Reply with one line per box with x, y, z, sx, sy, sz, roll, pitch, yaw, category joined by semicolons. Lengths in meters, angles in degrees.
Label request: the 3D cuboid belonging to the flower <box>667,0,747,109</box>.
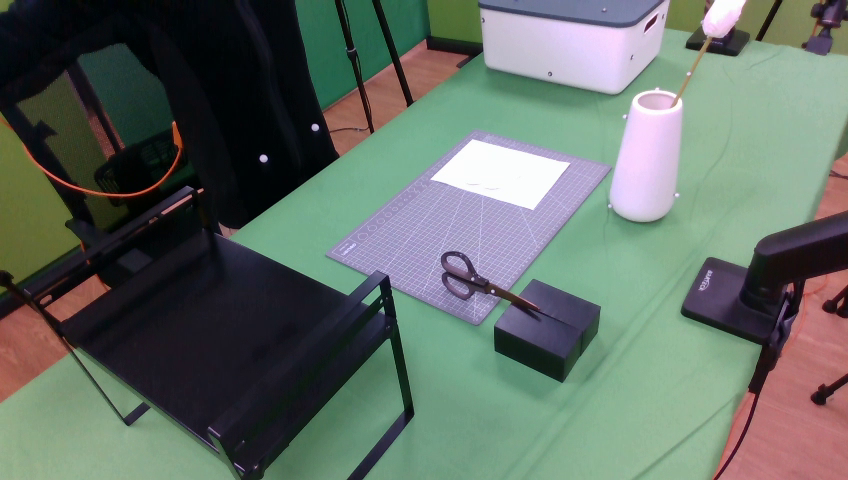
0.354;-0.187;0.879;0.038;0.362;0.044;30;48;14;flower

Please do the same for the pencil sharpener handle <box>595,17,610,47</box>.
0.412;-0.477;1.382;0.031;0.068;0.035;-14;37;-9;pencil sharpener handle

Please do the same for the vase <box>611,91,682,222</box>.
0.348;-0.125;0.935;0.098;0.201;0.097;-3;40;3;vase

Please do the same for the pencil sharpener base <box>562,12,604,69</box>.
0.364;-0.457;1.382;0.077;0.107;0.061;-14;40;-9;pencil sharpener base

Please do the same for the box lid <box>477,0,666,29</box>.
0.332;-0.535;1.333;0.368;0.015;0.264;22;48;31;box lid

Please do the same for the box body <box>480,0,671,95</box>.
0.339;-0.480;1.381;0.361;0.161;0.255;22;48;30;box body

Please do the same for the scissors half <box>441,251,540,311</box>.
0.087;0.056;0.824;0.013;0.040;0.173;-30;44;-35;scissors half

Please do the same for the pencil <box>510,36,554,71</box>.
0.263;-0.453;1.469;0.012;0.012;0.194;25;52;32;pencil

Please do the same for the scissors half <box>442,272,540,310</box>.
0.089;0.074;0.832;0.013;0.040;0.173;-24;23;-38;scissors half
